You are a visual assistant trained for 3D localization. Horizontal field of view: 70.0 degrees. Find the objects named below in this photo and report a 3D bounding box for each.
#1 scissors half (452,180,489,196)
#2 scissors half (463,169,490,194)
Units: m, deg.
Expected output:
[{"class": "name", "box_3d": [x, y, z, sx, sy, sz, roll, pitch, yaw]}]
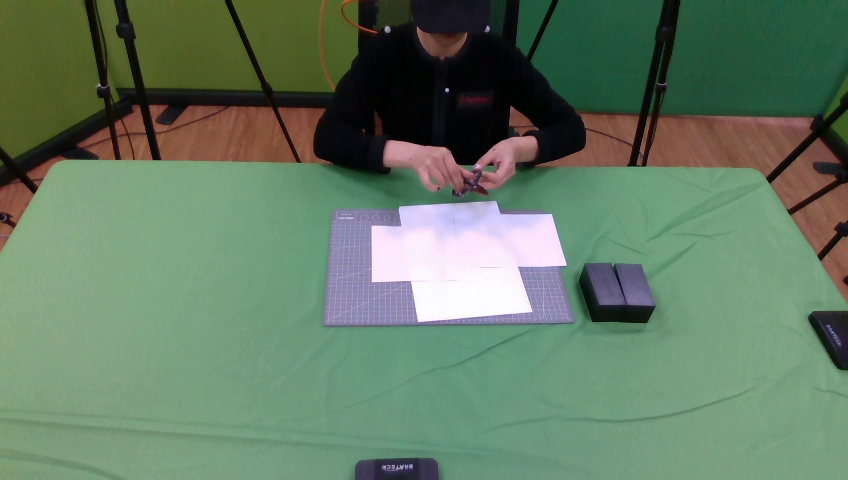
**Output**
[{"class": "scissors half", "box_3d": [0.090, -0.097, 1.165, 0.040, 0.013, 0.174, -42, 17, -9]}, {"class": "scissors half", "box_3d": [0.105, -0.110, 1.166, 0.040, 0.013, 0.174, -43, 18, 8]}]
